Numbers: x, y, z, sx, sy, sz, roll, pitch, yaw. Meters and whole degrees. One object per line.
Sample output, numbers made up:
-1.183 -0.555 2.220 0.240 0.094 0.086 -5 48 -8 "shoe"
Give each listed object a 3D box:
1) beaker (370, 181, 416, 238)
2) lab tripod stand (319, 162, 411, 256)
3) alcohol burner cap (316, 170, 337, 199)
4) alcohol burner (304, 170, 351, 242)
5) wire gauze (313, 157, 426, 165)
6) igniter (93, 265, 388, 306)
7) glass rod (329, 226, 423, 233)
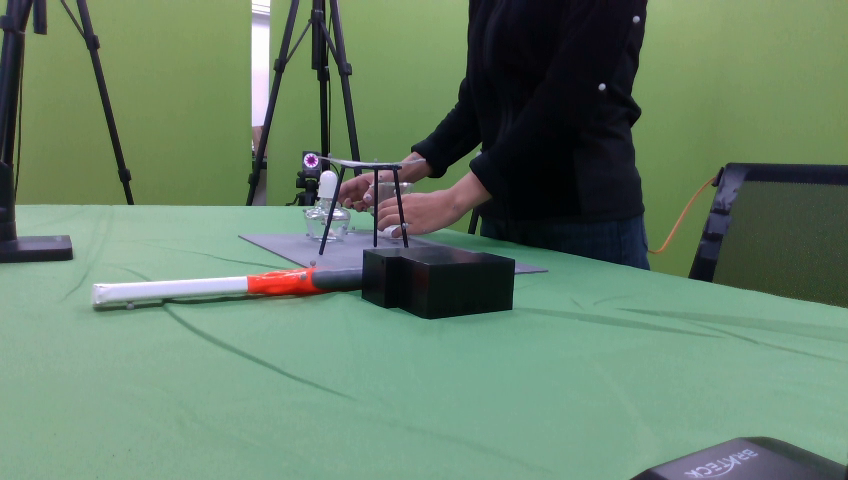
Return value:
-0.057 -0.056 1.093 0.084 0.100 0.074 1 7 -3 "beaker"
-0.081 -0.047 0.879 0.148 0.131 0.148 2 9 0 "lab tripod stand"
-0.160 -0.093 1.004 0.034 0.048 0.034 5 4 0 "alcohol burner cap"
-0.161 -0.057 1.008 0.078 0.119 0.078 1 9 0 "alcohol burner"
-0.080 -0.113 0.868 0.122 0.011 0.124 -4 10 -36 "wire gauze"
-0.164 0.042 0.589 0.278 0.025 0.057 -2 -7 -31 "igniter"
-0.087 -0.020 1.147 0.201 0.008 0.008 -3 9 -32 "glass rod"
